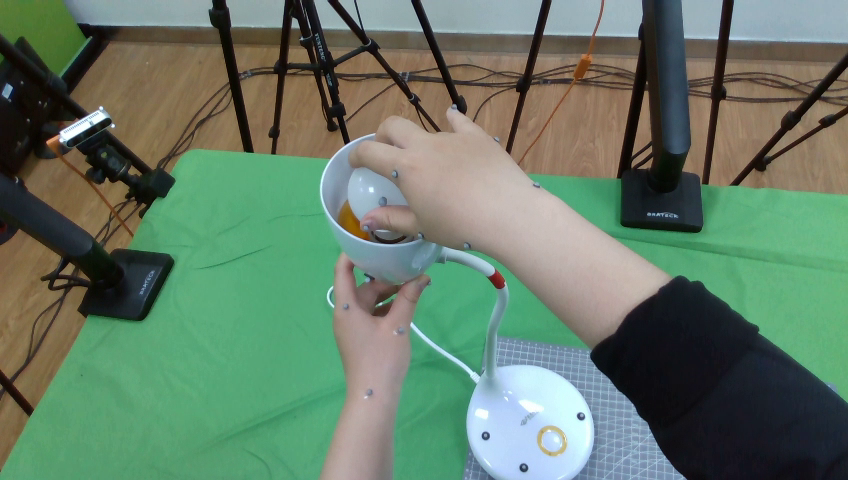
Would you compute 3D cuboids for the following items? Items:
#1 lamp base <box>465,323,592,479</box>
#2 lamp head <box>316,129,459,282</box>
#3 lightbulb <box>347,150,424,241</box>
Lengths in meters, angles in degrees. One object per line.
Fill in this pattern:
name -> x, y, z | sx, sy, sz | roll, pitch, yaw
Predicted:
lamp base -> 0.113, 0.178, 0.717 | 0.177, 0.182, 0.160 | 29, 62, 28
lamp head -> -0.024, -0.015, 0.517 | 0.112, 0.124, 0.111 | -2, 58, 4
lightbulb -> -0.030, -0.029, 0.492 | 0.059, 0.108, 0.059 | 0, 62, 0
